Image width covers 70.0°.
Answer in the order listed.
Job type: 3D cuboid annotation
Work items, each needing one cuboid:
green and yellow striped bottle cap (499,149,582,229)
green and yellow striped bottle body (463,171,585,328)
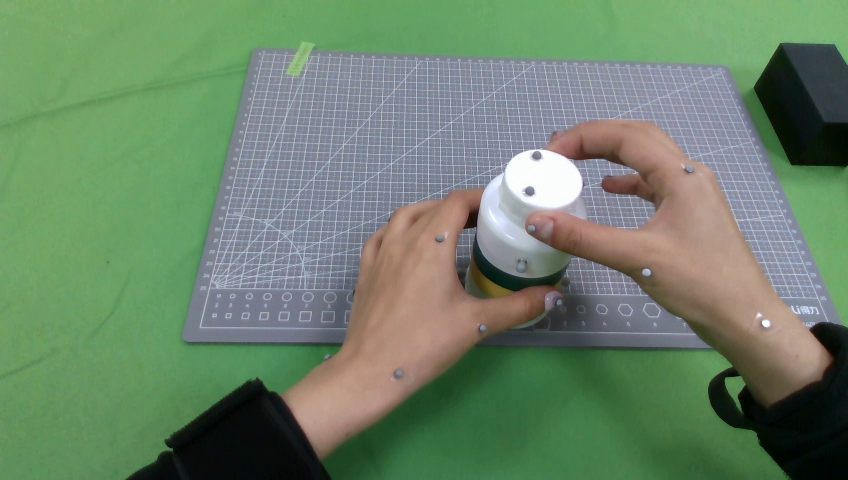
[{"bbox_3d":[0.064,-0.029,0.335,0.045,0.020,0.045,1,55,-1],"label":"green and yellow striped bottle cap"},{"bbox_3d":[0.061,0.001,0.377,0.063,0.120,0.062,1,55,-2],"label":"green and yellow striped bottle body"}]
